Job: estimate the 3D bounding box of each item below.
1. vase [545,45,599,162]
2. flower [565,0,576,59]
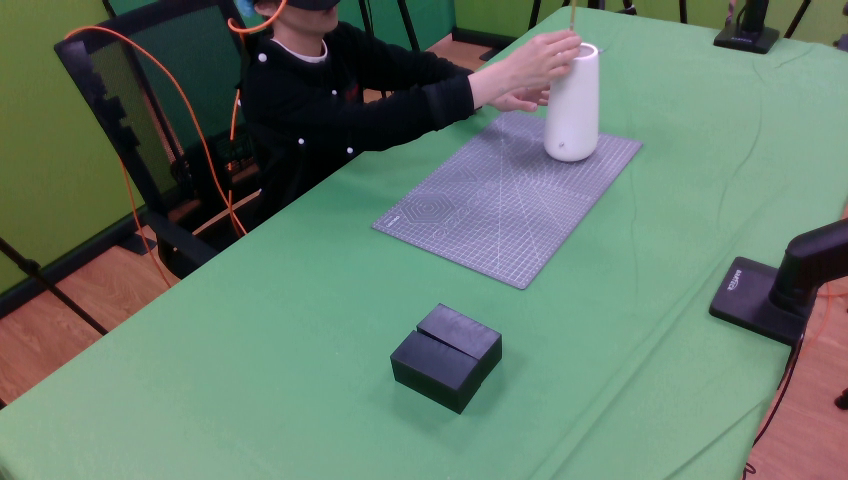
[{"bbox_3d":[0.266,-0.238,1.074,0.098,0.201,0.097,-4,42,4],"label":"vase"},{"bbox_3d":[0.238,-0.295,1.009,0.038,0.363,0.044,-8,44,-5],"label":"flower"}]
